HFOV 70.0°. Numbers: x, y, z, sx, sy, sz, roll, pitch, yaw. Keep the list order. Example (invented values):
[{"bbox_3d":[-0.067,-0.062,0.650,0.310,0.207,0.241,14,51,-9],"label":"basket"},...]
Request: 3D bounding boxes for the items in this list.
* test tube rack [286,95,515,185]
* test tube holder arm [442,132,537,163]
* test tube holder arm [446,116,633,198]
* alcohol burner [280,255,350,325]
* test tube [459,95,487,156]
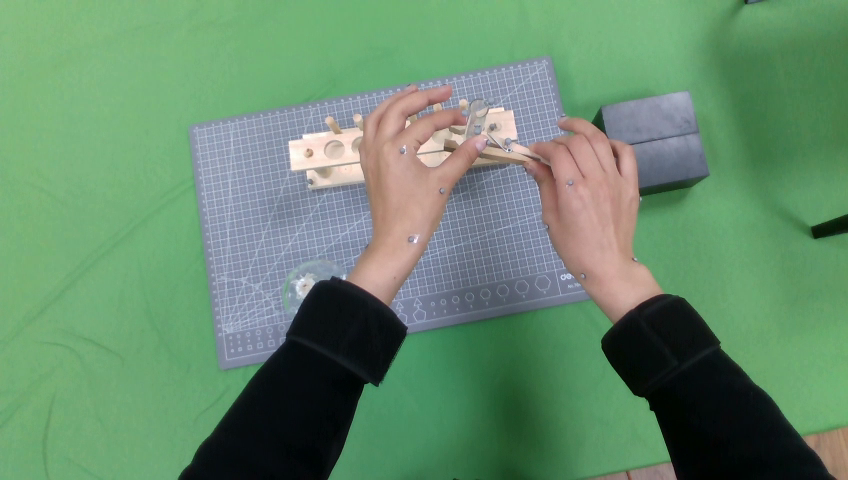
[{"bbox_3d":[-0.026,-0.120,0.685,0.242,0.085,0.066,-8,81,1],"label":"test tube rack"},{"bbox_3d":[0.060,-0.084,0.552,0.088,0.015,0.010,11,84,4],"label":"test tube holder arm"},{"bbox_3d":[0.104,-0.076,0.549,0.178,0.015,0.013,21,85,5],"label":"test tube holder arm"},{"bbox_3d":[-0.120,0.051,0.649,0.078,0.119,0.077,0,80,1],"label":"alcohol burner"},{"bbox_3d":[0.041,-0.096,0.529,0.017,0.150,0.017,0,85,1],"label":"test tube"}]
